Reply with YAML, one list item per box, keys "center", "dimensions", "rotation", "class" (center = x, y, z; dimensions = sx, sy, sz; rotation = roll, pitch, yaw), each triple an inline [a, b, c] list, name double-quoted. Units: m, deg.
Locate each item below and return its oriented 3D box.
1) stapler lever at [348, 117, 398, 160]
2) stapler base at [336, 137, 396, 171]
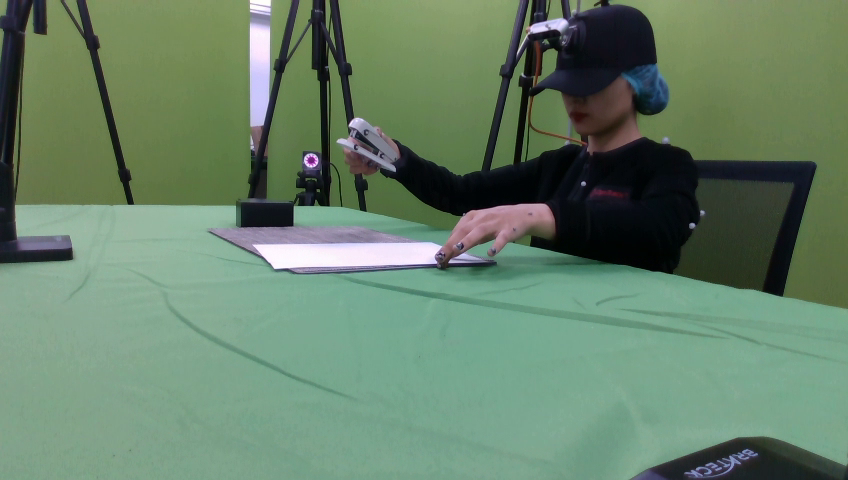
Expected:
- center: [-0.090, -0.182, 1.092]
  dimensions: [0.026, 0.040, 0.119]
  rotation: [26, 1, 42]
  class: "stapler lever"
- center: [-0.100, -0.160, 1.090]
  dimensions: [0.041, 0.024, 0.131]
  rotation: [26, 1, 42]
  class: "stapler base"
